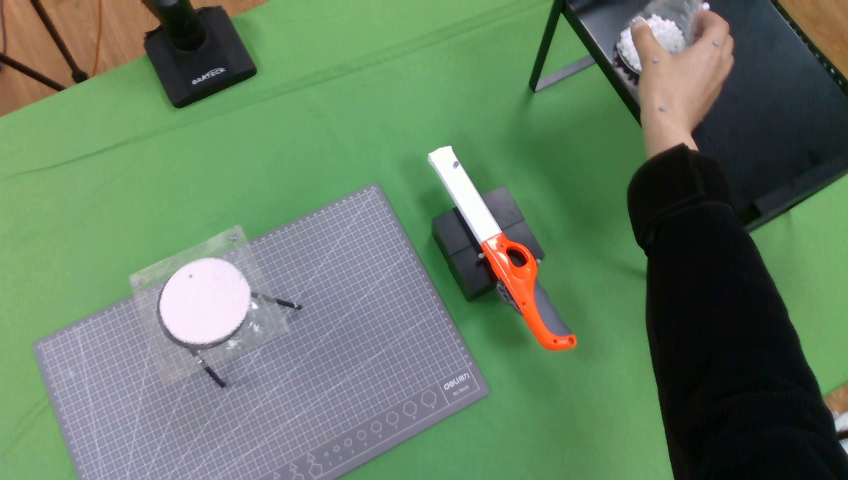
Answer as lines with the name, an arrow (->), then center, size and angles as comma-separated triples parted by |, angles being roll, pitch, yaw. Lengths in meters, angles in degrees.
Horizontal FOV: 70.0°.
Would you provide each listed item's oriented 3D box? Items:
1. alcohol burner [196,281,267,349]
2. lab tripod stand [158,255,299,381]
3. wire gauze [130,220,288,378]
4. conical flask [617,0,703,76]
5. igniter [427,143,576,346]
alcohol burner -> -0.216, 0.080, 0.666 | 0.078, 0.119, 0.077 | 0, 75, 0
lab tripod stand -> -0.222, 0.075, 0.657 | 0.148, 0.132, 0.147 | 0, 74, 1
wire gauze -> -0.213, 0.056, 0.592 | 0.125, 0.011, 0.120 | -24, 75, -7
conical flask -> 0.238, -0.218, 0.576 | 0.075, 0.122, 0.075 | 1, 73, -1
igniter -> 0.084, 0.003, 0.694 | 0.057, 0.025, 0.274 | -27, 74, -13
